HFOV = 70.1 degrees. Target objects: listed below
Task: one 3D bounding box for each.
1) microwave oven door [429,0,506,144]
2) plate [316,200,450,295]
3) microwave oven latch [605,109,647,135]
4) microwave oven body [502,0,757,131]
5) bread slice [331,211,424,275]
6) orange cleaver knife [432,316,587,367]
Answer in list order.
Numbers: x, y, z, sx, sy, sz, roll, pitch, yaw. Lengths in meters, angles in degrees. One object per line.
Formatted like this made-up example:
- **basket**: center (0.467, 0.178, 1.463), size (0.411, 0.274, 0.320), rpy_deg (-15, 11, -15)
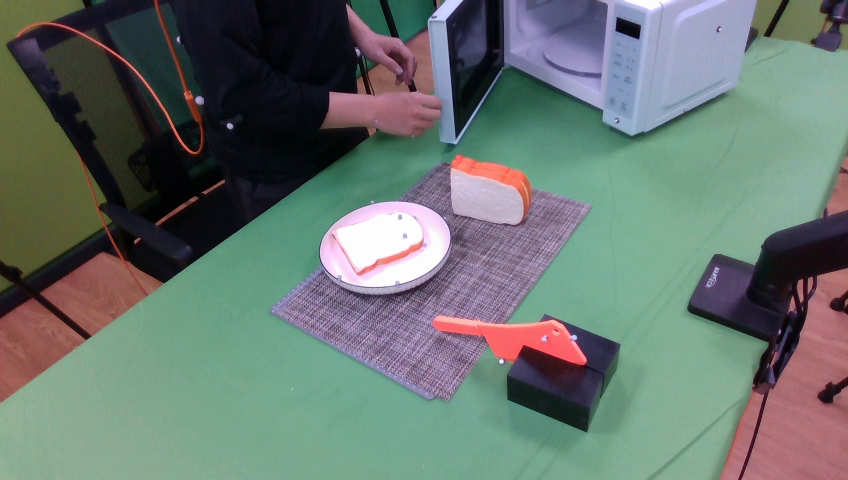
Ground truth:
- **microwave oven door**: center (0.097, -0.391, 1.216), size (0.039, 0.245, 0.355), rpy_deg (10, 44, 20)
- **plate**: center (-0.062, 0.015, 0.944), size (0.207, 0.039, 0.206), rpy_deg (-4, 41, 4)
- **microwave oven latch**: center (0.379, -0.225, 1.139), size (0.030, 0.029, 0.078), rpy_deg (-26, 43, -19)
- **microwave oven body**: center (0.396, -0.448, 1.248), size (0.327, 0.261, 0.437), rpy_deg (-27, 44, -21)
- **bread slice**: center (-0.069, -0.002, 0.960), size (0.135, 0.018, 0.106), rpy_deg (-22, 46, -21)
- **orange cleaver knife**: center (0.101, 0.127, 0.761), size (0.210, 0.077, 0.012), rpy_deg (-1, 34, 40)
